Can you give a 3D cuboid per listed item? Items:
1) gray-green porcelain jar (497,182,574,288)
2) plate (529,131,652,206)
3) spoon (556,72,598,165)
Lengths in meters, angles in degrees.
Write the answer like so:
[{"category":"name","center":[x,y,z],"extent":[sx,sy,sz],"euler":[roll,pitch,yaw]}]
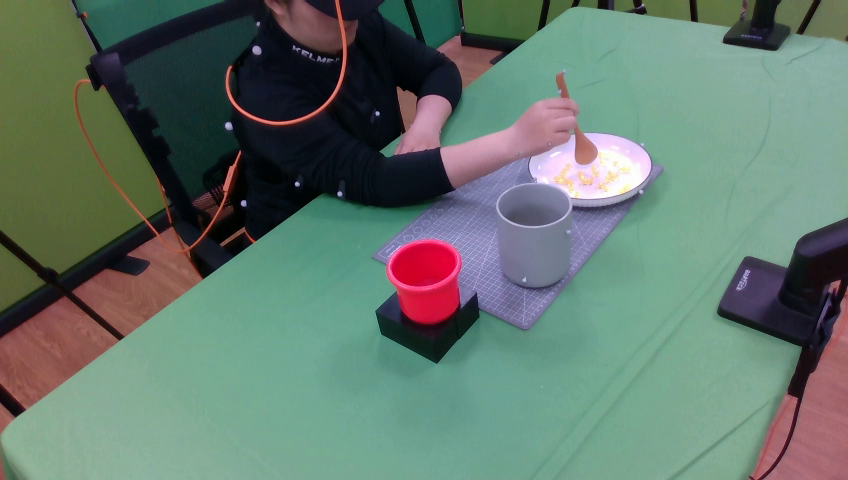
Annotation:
[{"category":"gray-green porcelain jar","center":[0.161,-0.003,0.869],"extent":[0.106,0.127,0.105],"euler":[-5,40,5]},{"category":"plate","center":[0.287,-0.121,1.056],"extent":[0.207,0.039,0.206],"euler":[-5,40,5]},{"category":"spoon","center":[0.248,-0.196,0.998],"extent":[0.041,0.195,0.021],"euler":[-24,37,12]}]
